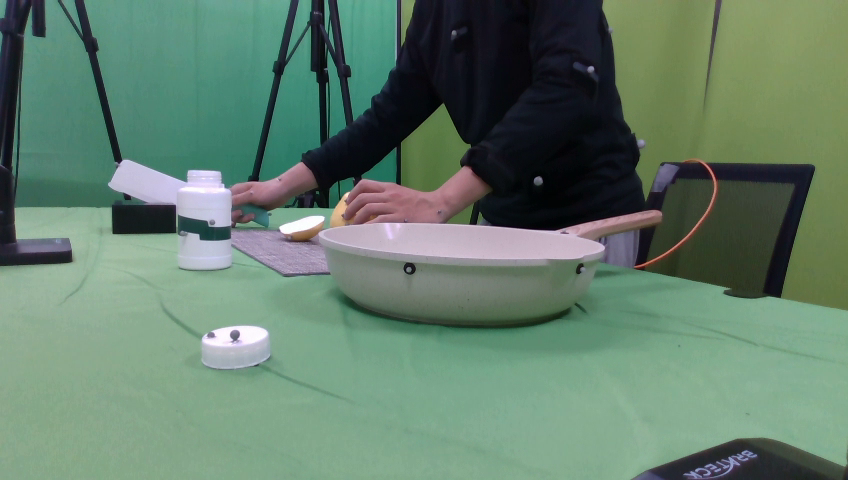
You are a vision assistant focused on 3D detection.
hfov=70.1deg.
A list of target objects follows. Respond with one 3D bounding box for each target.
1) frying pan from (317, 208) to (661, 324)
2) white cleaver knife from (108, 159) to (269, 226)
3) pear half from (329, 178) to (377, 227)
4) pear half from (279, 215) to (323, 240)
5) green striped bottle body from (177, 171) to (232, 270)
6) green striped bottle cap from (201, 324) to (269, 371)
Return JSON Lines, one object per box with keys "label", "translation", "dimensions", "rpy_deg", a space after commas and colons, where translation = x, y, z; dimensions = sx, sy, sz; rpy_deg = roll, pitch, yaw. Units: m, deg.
{"label": "frying pan", "translation": [0.121, 0.006, 0.691], "dimensions": [0.490, 0.102, 0.305], "rpy_deg": [-13, 15, -33]}
{"label": "white cleaver knife", "translation": [-0.427, -0.074, 1.125], "dimensions": [0.288, 0.066, 0.021], "rpy_deg": [20, 0, -29]}
{"label": "pear half", "translation": [-0.105, -0.042, 0.945], "dimensions": [0.077, 0.110, 0.055], "rpy_deg": [-11, 15, -42]}
{"label": "pear half", "translation": [-0.206, -0.017, 1.018], "dimensions": [0.087, 0.031, 0.070], "rpy_deg": [-7, 17, 36]}
{"label": "green striped bottle body", "translation": [-0.273, -0.026, 0.752], "dimensions": [0.063, 0.119, 0.063], "rpy_deg": [2, 7, 0]}
{"label": "green striped bottle cap", "translation": [-0.129, 0.073, 0.415], "dimensions": [0.044, 0.020, 0.044], "rpy_deg": [2, 8, 0]}
